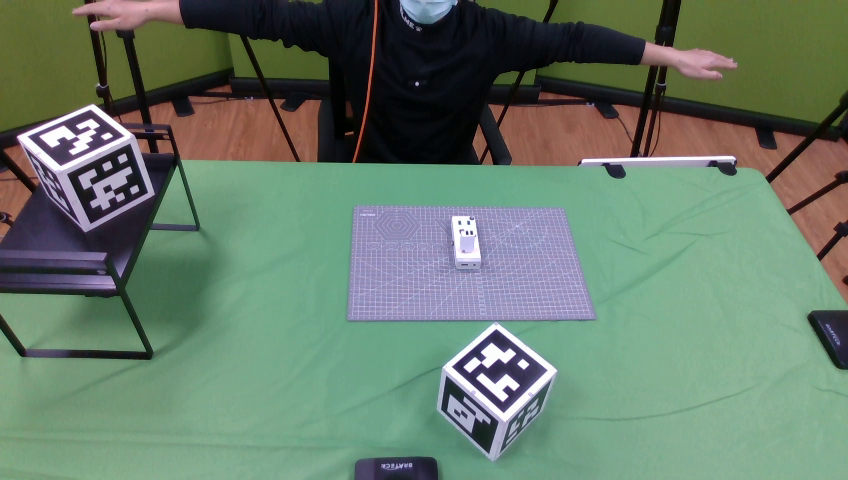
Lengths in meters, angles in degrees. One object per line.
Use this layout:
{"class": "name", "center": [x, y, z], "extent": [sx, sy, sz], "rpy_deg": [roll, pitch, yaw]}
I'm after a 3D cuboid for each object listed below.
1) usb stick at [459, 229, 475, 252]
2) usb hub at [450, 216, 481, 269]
{"class": "usb stick", "center": [0.081, 0.006, 1.151], "extent": [0.027, 0.059, 0.021], "rpy_deg": [-1, 45, -6]}
{"class": "usb hub", "center": [0.082, 0.004, 1.194], "extent": [0.049, 0.025, 0.124], "rpy_deg": [1, 46, -4]}
